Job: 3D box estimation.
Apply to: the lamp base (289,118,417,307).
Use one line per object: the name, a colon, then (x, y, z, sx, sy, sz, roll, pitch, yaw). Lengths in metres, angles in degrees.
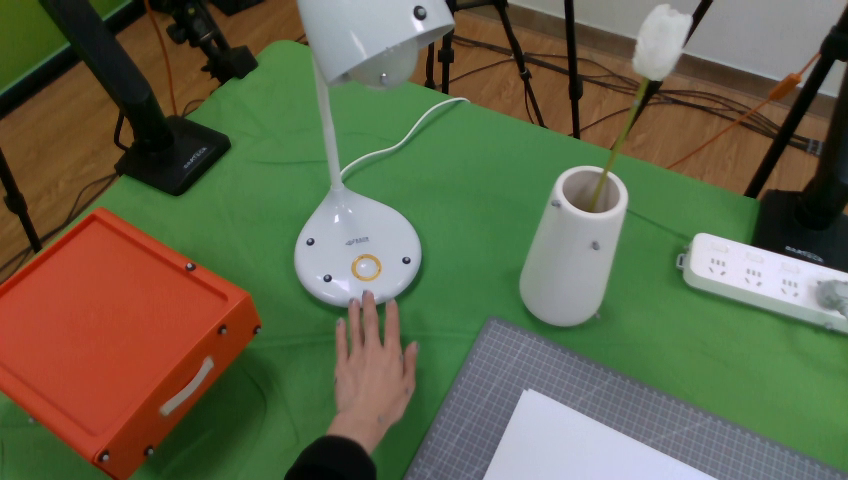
lamp base: (-0.095, -0.039, 0.711, 0.161, 0.182, 0.177, -23, 54, -17)

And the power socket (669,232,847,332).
power socket: (0.420, 0.050, 0.742, 0.226, 0.033, 0.072, 17, 56, 12)

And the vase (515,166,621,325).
vase: (0.156, 0.011, 0.665, 0.098, 0.202, 0.097, 0, 52, 1)

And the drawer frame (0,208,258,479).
drawer frame: (-0.321, 0.097, 0.617, 0.212, 0.083, 0.201, 27, 58, 16)

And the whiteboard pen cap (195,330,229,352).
whiteboard pen cap: (-0.223, 0.106, 0.636, 0.033, 0.018, 0.018, 13, 54, 17)

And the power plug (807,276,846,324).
power plug: (0.458, 0.072, 0.697, 0.035, 0.053, 0.072, 26, 59, 19)

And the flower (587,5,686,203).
flower: (0.170, -0.049, 0.607, 0.038, 0.364, 0.043, 14, 36, 1)

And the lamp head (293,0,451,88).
lamp head: (-0.054, -0.191, 0.463, 0.112, 0.112, 0.123, -30, 97, -21)

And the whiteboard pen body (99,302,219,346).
whiteboard pen body: (-0.282, 0.091, 0.645, 0.140, 0.017, 0.017, 16, 54, 8)

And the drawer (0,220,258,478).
drawer: (-0.314, 0.097, 0.614, 0.210, 0.074, 0.194, 26, 58, 18)

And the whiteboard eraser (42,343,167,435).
whiteboard eraser: (-0.314, 0.147, 0.598, 0.112, 0.042, 0.055, 17, 48, 21)
